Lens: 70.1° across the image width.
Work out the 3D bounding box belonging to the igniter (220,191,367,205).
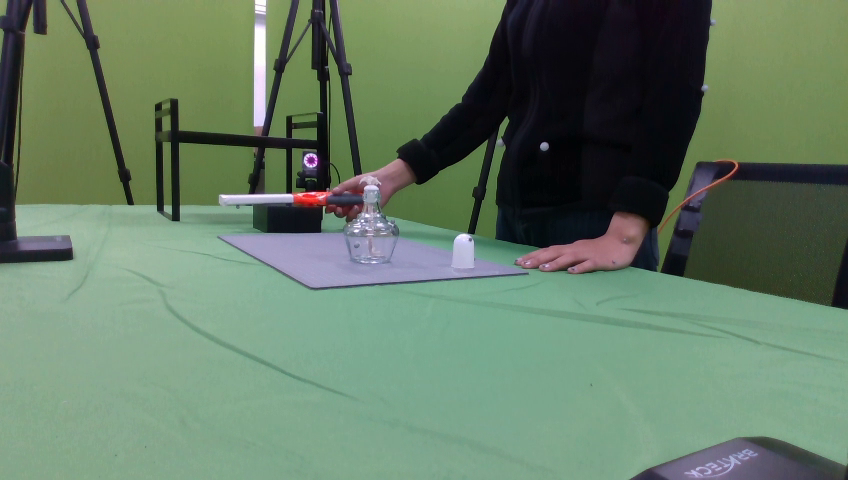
[{"bbox_3d":[-0.242,-0.079,1.152,0.278,0.025,0.057,-3,13,-26],"label":"igniter"}]

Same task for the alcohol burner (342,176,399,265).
[{"bbox_3d":[-0.073,-0.027,0.818,0.078,0.119,0.078,1,6,0],"label":"alcohol burner"}]

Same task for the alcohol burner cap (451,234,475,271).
[{"bbox_3d":[0.053,0.016,0.808,0.034,0.048,0.034,3,9,0],"label":"alcohol burner cap"}]
